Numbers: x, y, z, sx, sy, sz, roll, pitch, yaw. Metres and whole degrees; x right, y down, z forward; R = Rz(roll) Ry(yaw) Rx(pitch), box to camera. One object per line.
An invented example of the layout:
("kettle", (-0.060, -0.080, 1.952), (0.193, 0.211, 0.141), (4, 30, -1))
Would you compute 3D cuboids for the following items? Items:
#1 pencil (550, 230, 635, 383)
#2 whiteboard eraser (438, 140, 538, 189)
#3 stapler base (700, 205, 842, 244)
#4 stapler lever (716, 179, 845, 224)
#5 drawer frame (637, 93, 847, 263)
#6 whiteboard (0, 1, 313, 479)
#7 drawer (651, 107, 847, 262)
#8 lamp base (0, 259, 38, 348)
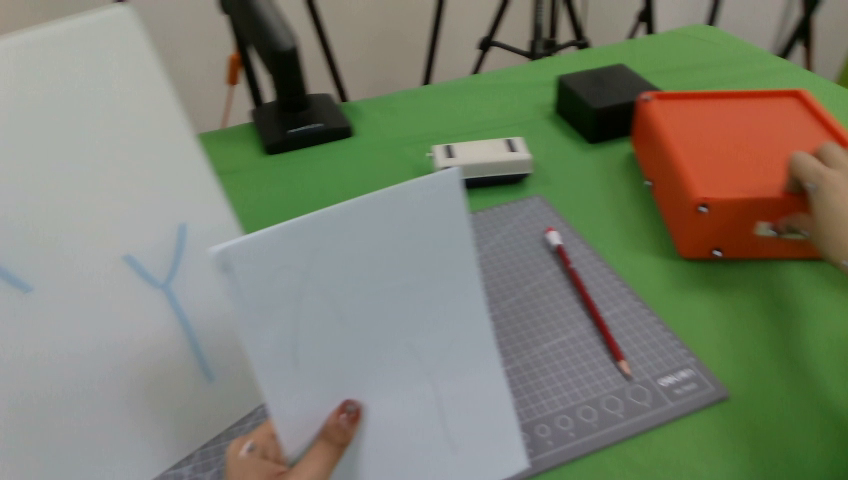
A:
("pencil", (0.152, 0.053, 0.559), (0.012, 0.012, 0.192), (-9, 42, -7))
("whiteboard eraser", (0.074, -0.088, 0.715), (0.113, 0.042, 0.055), (-5, 41, -3))
("stapler base", (0.350, -0.020, 0.610), (0.130, 0.024, 0.041), (4, 43, 7))
("stapler lever", (0.350, -0.038, 0.595), (0.118, 0.040, 0.026), (3, 43, 9))
("drawer frame", (0.355, -0.072, 0.646), (0.201, 0.083, 0.211), (-1, 39, 3))
("whiteboard", (-0.253, 0.019, 0.441), (0.217, 0.308, 0.142), (-32, 28, -29))
("drawer", (0.355, -0.068, 0.644), (0.194, 0.074, 0.210), (0, 39, 4))
("lamp base", (-0.460, 0.012, 0.513), (0.178, 0.182, 0.160), (10, 41, 19))
